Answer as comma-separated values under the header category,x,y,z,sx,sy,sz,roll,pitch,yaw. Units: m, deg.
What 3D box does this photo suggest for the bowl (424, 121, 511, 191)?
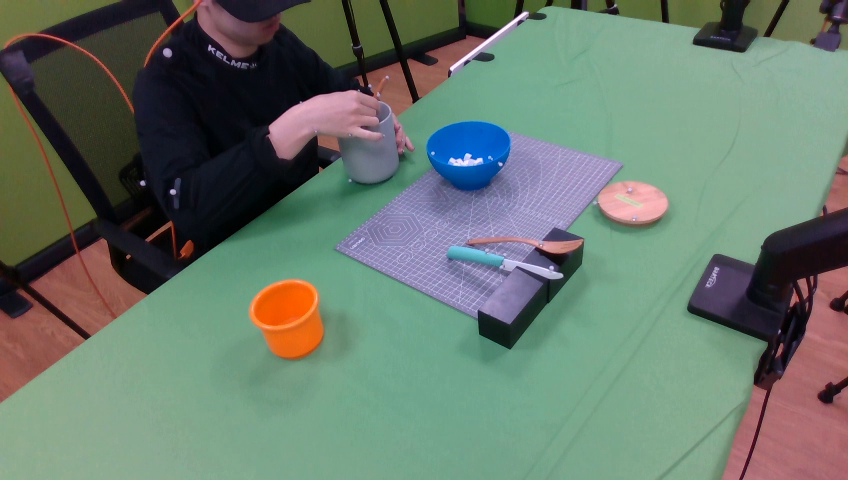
category,x,y,z,sx,sy,sz,roll,pitch,yaw
bowl,0.080,-0.140,1.074,0.151,0.077,0.150,-4,40,4

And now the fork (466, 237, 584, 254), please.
category,x,y,z,sx,sy,sz,roll,pitch,yaw
fork,0.142,0.005,0.894,0.205,0.019,0.028,4,43,41

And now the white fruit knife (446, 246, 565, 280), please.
category,x,y,z,sx,sy,sz,roll,pitch,yaw
white fruit knife,0.111,0.033,0.868,0.205,0.027,0.016,11,44,40

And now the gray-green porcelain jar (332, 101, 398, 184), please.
category,x,y,z,sx,sy,sz,roll,pitch,yaw
gray-green porcelain jar,-0.105,-0.175,1.109,0.106,0.127,0.105,-4,40,4

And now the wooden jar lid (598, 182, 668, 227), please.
category,x,y,z,sx,sy,sz,roll,pitch,yaw
wooden jar lid,0.340,-0.057,0.989,0.108,0.021,0.108,-5,41,5
